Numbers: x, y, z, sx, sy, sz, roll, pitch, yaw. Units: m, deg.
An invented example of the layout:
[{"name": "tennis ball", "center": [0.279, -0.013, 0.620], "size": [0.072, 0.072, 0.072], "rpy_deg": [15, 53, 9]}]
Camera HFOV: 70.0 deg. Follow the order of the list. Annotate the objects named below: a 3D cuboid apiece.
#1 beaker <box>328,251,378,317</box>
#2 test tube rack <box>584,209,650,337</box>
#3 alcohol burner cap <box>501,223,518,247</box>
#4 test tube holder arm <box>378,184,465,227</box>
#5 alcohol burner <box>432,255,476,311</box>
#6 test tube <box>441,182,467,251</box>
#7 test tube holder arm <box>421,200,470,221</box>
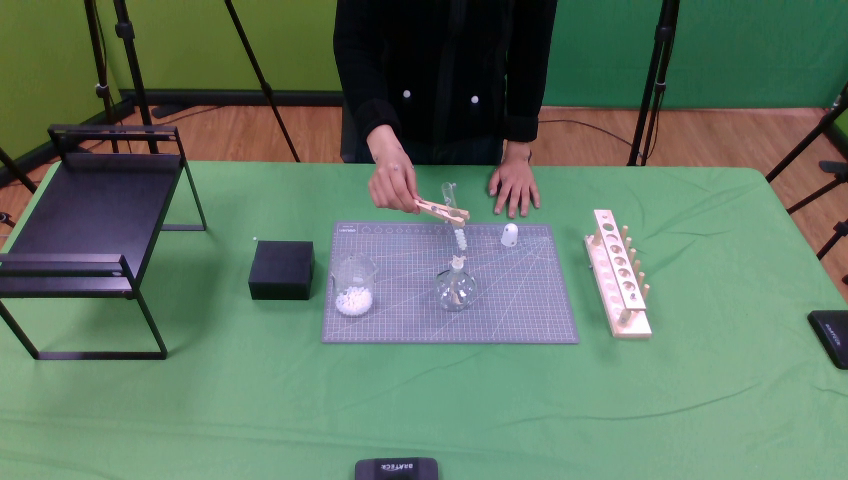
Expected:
[{"name": "beaker", "center": [-0.123, 0.080, 1.055], "size": [0.084, 0.101, 0.073], "rpy_deg": [0, 47, -5]}, {"name": "test tube rack", "center": [0.365, 0.056, 1.129], "size": [0.067, 0.085, 0.240], "rpy_deg": [1, 46, -4]}, {"name": "alcohol burner cap", "center": [0.172, -0.013, 1.207], "size": [0.034, 0.048, 0.033], "rpy_deg": [0, 45, 0]}, {"name": "test tube holder arm", "center": [-0.008, -0.058, 0.978], "size": [0.177, 0.015, 0.013], "rpy_deg": [23, 60, 32]}, {"name": "alcohol burner", "center": [0.055, 0.070, 1.068], "size": [0.078, 0.119, 0.077], "rpy_deg": [3, 45, -3]}, {"name": "test tube", "center": [0.049, -0.034, 0.951], "size": [0.017, 0.151, 0.017], "rpy_deg": [-8, 49, 10]}, {"name": "test tube holder arm", "center": [0.031, -0.048, 0.958], "size": [0.087, 0.015, 0.010], "rpy_deg": [16, 57, 27]}]
